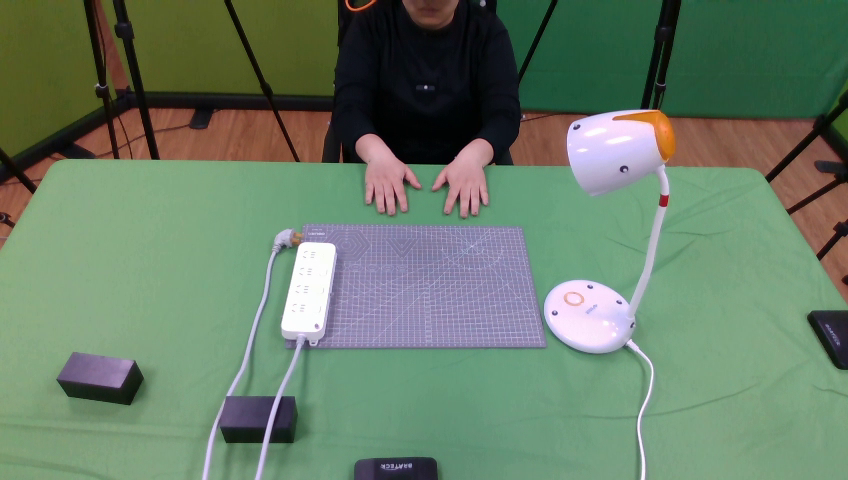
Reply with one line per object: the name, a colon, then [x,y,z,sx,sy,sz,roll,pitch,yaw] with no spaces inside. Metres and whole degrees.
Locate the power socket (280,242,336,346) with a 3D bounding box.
power socket: [-0.206,0.087,1.087,0.072,0.033,0.225,3,46,-1]

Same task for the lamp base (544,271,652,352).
lamp base: [0.309,0.086,1.029,0.178,0.181,0.160,32,52,21]

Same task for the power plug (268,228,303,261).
power plug: [-0.265,0.012,1.172,0.052,0.035,0.072,9,81,9]

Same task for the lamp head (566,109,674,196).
lamp head: [0.272,-0.123,0.818,0.122,0.113,0.112,-9,35,37]
